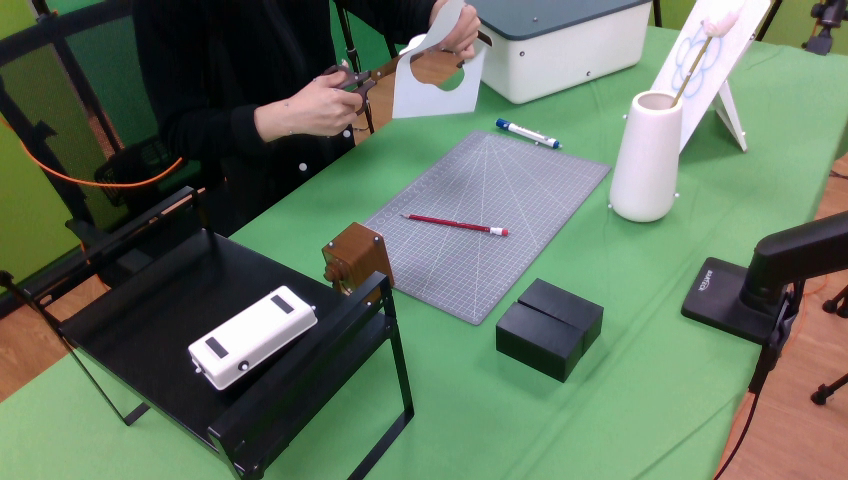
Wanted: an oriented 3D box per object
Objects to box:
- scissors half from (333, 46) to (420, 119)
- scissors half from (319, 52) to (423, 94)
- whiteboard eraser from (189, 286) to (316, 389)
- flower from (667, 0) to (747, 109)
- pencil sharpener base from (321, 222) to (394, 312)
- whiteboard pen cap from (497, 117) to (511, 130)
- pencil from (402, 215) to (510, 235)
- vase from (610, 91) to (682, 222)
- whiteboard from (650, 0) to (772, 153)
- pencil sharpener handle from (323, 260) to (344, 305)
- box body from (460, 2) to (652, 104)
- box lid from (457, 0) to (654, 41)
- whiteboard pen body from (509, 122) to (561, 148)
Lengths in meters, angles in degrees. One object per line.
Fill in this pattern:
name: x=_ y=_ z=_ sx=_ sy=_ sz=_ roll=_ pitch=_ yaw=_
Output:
scissors half: x=-0.072 y=-0.240 z=0.923 sx=0.174 sy=0.040 sz=0.013 roll=-35 pitch=16 yaw=27
scissors half: x=-0.083 y=-0.258 z=0.915 sx=0.174 sy=0.040 sz=0.013 roll=-10 pitch=30 yaw=17
whiteboard eraser: x=-0.166 y=0.096 z=0.593 sx=0.113 sy=0.042 sz=0.055 roll=-36 pitch=47 yaw=-29
flower: x=0.354 y=-0.187 z=0.879 sx=0.038 sy=0.362 sz=0.044 roll=30 pitch=48 yaw=14
pencil sharpener base: x=-0.096 y=0.041 z=0.873 sx=0.061 sy=0.107 sz=0.077 roll=26 pitch=54 yaw=32
whiteboard pen cap: x=0.165 y=-0.235 z=1.227 sx=0.033 sy=0.018 sz=0.018 roll=32 pitch=53 yaw=30
pencil: x=0.049 y=-0.027 z=1.007 sx=0.193 sy=0.012 sz=0.012 roll=10 pitch=43 yaw=21
vase: x=0.348 y=-0.125 z=0.935 sx=0.098 sy=0.201 sz=0.097 roll=-3 pitch=40 yaw=3
whiteboard: x=0.543 y=-0.298 z=1.076 sx=0.144 sy=0.305 sz=0.216 roll=12 pitch=40 yaw=-7
pencil sharpener handle: x=-0.131 y=0.062 z=0.839 sx=0.035 sy=0.068 sz=0.031 roll=29 pitch=55 yaw=28
box body: x=0.291 y=-0.465 z=1.371 sx=0.365 sy=0.161 sz=0.252 roll=-22 pitch=42 yaw=-16
box lid: x=0.285 y=-0.522 z=1.323 sx=0.373 sy=0.015 sz=0.261 roll=-22 pitch=43 yaw=-16
whiteboard pen body: x=0.208 y=-0.212 z=1.195 sx=0.139 sy=0.017 sz=0.017 roll=30 pitch=52 yaw=33
